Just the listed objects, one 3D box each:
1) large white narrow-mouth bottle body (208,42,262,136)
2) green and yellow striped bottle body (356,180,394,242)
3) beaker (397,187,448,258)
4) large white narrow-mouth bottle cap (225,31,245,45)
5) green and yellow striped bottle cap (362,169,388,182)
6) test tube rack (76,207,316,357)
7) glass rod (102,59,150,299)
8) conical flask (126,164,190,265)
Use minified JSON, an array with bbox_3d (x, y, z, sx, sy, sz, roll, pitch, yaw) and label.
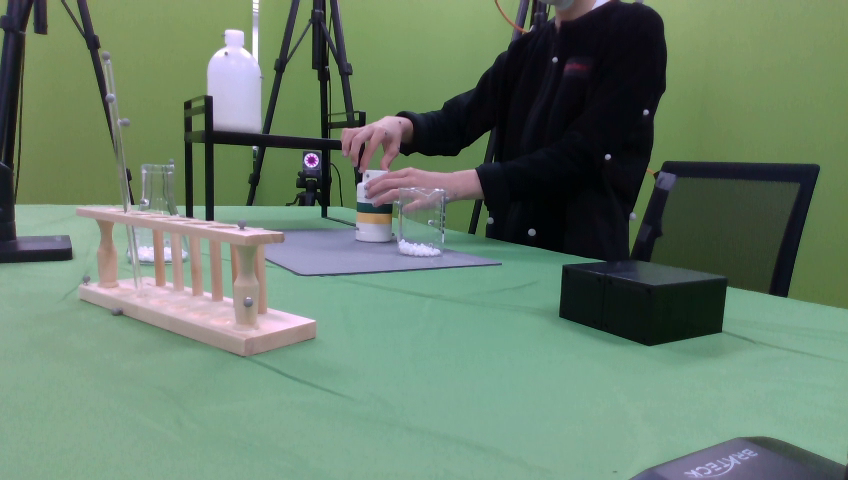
[{"bbox_3d":[-0.368,-0.304,1.181,0.102,0.194,0.101,2,9,0],"label":"large white narrow-mouth bottle body"},{"bbox_3d":[-0.084,-0.058,1.029,0.063,0.119,0.063,3,7,0],"label":"green and yellow striped bottle body"},{"bbox_3d":[-0.002,-0.027,0.890,0.074,0.100,0.084,0,8,-11],"label":"beaker"},{"bbox_3d":[-0.365,-0.389,1.166,0.038,0.024,0.037,2,9,0],"label":"large white narrow-mouth bottle cap"},{"bbox_3d":[-0.082,-0.109,1.021,0.045,0.020,0.045,4,4,0],"label":"green and yellow striped bottle cap"},{"bbox_3d":[-0.196,0.023,0.500,0.241,0.085,0.067,8,9,36],"label":"test tube rack"},{"bbox_3d":[-0.243,-0.045,0.496,0.008,0.199,0.008,-4,13,1],"label":"glass rod"},{"bbox_3d":[-0.332,-0.033,0.756,0.075,0.122,0.075,2,7,0],"label":"conical flask"}]
